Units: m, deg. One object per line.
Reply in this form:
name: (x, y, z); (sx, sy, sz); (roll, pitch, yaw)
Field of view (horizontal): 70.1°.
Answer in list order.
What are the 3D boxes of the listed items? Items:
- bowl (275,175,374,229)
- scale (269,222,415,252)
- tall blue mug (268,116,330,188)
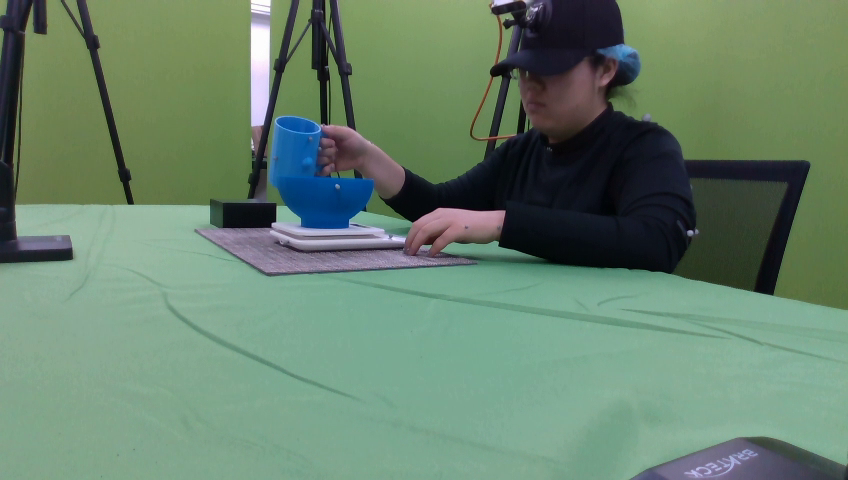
bowl: (-0.152, -0.059, 0.932); (0.151, 0.077, 0.151); (2, 6, 0)
scale: (-0.130, -0.008, 0.958); (0.202, 0.031, 0.148); (-1, 9, -32)
tall blue mug: (-0.217, -0.153, 1.044); (0.078, 0.108, 0.107); (19, 28, 7)
